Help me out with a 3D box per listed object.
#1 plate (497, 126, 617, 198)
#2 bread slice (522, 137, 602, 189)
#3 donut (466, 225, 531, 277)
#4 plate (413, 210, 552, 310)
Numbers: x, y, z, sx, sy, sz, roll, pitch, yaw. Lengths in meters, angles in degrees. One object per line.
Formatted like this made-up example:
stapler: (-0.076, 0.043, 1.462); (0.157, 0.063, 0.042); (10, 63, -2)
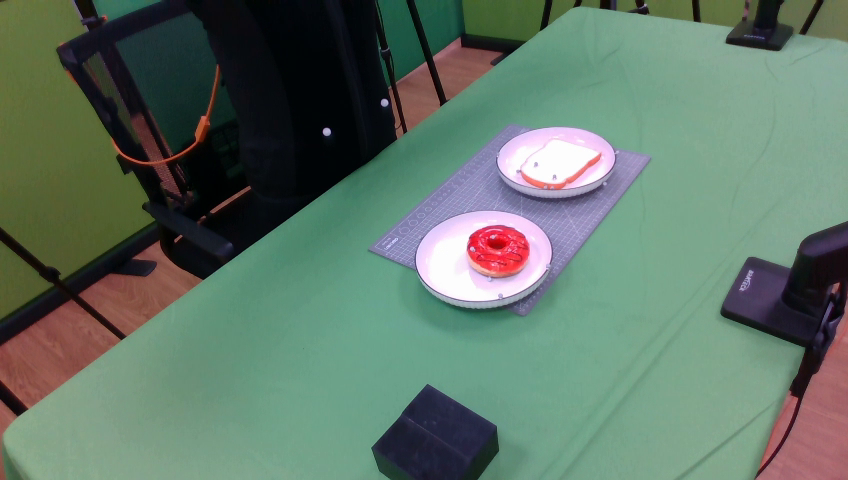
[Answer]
plate: (0.236, -0.136, 1.085); (0.209, 0.038, 0.208); (-5, 40, 5)
bread slice: (0.242, -0.137, 1.085); (0.106, 0.018, 0.134); (23, 50, 34)
donut: (0.112, 0.017, 0.910); (0.099, 0.048, 0.098); (-2, 42, 2)
plate: (0.088, 0.033, 0.914); (0.207, 0.039, 0.206); (-5, 40, 5)
